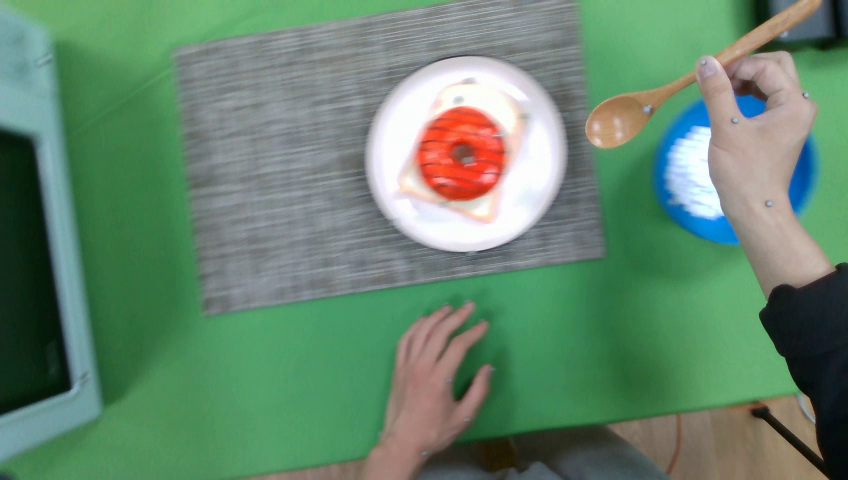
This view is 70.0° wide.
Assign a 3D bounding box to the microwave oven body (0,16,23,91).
[{"bbox_3d":[-0.562,0.007,0.572,0.326,0.260,0.441,-11,91,3],"label":"microwave oven body"}]

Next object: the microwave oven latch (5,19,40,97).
[{"bbox_3d":[-0.444,-0.195,0.658,0.030,0.029,0.079,-10,91,3],"label":"microwave oven latch"}]

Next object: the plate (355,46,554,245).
[{"bbox_3d":[0.032,-0.098,0.647,0.207,0.039,0.207,0,91,3],"label":"plate"}]

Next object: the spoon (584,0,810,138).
[{"bbox_3d":[0.208,-0.136,0.475,0.193,0.021,0.041,-29,96,47],"label":"spoon"}]

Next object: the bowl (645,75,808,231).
[{"bbox_3d":[0.293,-0.083,0.617,0.151,0.077,0.151,0,90,3],"label":"bowl"}]

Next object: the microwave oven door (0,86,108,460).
[{"bbox_3d":[-0.411,0.020,0.559,0.039,0.244,0.355,-12,90,4],"label":"microwave oven door"}]

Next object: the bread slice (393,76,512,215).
[{"bbox_3d":[0.034,-0.106,0.648,0.107,0.018,0.134,16,92,2],"label":"bread slice"}]

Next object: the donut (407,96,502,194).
[{"bbox_3d":[0.031,-0.096,0.620,0.099,0.048,0.099,0,91,4],"label":"donut"}]
